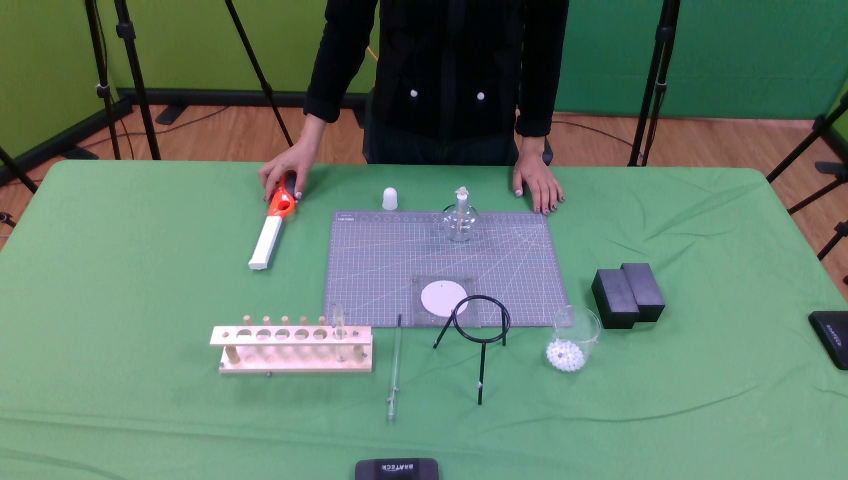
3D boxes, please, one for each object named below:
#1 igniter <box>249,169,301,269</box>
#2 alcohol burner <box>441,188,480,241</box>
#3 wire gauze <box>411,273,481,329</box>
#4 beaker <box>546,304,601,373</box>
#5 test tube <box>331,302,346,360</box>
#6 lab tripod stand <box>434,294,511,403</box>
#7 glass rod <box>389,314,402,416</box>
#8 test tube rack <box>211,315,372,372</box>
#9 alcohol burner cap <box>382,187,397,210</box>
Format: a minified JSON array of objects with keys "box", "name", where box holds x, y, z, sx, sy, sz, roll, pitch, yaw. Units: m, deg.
[{"box":[-0.297,-0.051,1.220,0.057,0.025,0.275,-1,46,9],"name":"igniter"},{"box":[0.073,-0.055,1.189,0.078,0.120,0.077,1,48,-1],"name":"alcohol burner"},{"box":[0.038,0.108,1.103,0.125,0.011,0.120,2,47,-3],"name":"wire gauze"},{"box":[0.242,0.167,1.001,0.084,0.101,0.073,-32,55,-28],"name":"beaker"},{"box":[-0.132,0.144,0.938,0.017,0.151,0.017,2,49,-3],"name":"test tube"},{"box":[0.087,0.164,0.969,0.148,0.132,0.147,3,47,-3],"name":"lab tripod stand"},{"box":[-0.048,0.203,1.007,0.008,0.008,0.198,4,45,0],"name":"glass rod"},{"box":[-0.208,0.163,0.982,0.242,0.085,0.066,1,46,-4],"name":"test tube rack"},{"box":[-0.072,-0.090,1.266,0.034,0.048,0.033,3,49,-3],"name":"alcohol burner cap"}]
